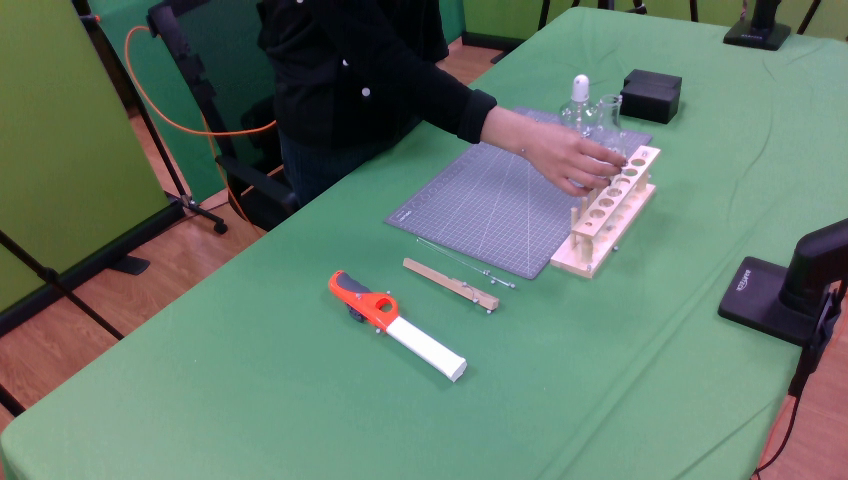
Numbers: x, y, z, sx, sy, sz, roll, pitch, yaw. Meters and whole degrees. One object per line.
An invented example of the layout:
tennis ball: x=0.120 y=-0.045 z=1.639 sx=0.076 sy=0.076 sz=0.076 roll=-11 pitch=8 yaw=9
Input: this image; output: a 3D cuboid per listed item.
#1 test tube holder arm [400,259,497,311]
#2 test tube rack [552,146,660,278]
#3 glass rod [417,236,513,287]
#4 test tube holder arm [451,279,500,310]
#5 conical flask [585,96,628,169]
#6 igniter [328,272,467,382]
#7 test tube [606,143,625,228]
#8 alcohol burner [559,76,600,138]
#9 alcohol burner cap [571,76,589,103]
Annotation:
test tube holder arm: x=0.033 y=0.064 z=0.902 sx=0.177 sy=0.015 sz=0.013 roll=23 pitch=14 yaw=33
test tube rack: x=0.286 y=-0.053 z=0.943 sx=0.066 sy=0.085 sz=0.243 roll=21 pitch=49 yaw=32
glass rod: x=0.059 y=0.032 z=0.944 sx=0.198 sy=0.008 sz=0.008 roll=27 pitch=53 yaw=37
test tube holder arm: x=0.071 y=0.079 z=0.882 sx=0.087 sy=0.015 sz=0.010 roll=23 pitch=14 yaw=34
conical flask: x=0.324 y=-0.192 z=1.066 sx=0.075 sy=0.122 sz=0.075 roll=-6 pitch=40 yaw=5
igniter: x=-0.048 y=0.114 z=0.854 sx=0.274 sy=0.025 sz=0.057 roll=29 pitch=63 yaw=37
test tube: x=0.282 y=-0.077 z=0.893 sx=0.017 sy=0.151 sz=0.017 roll=-5 pitch=42 yaw=5
alcohol burner: x=0.298 y=-0.257 z=1.156 sx=0.078 sy=0.119 sz=0.077 roll=-4 pitch=39 yaw=4
alcohol burner cap: x=0.294 y=-0.284 z=1.131 sx=0.034 sy=0.048 sz=0.033 roll=-5 pitch=46 yaw=5
